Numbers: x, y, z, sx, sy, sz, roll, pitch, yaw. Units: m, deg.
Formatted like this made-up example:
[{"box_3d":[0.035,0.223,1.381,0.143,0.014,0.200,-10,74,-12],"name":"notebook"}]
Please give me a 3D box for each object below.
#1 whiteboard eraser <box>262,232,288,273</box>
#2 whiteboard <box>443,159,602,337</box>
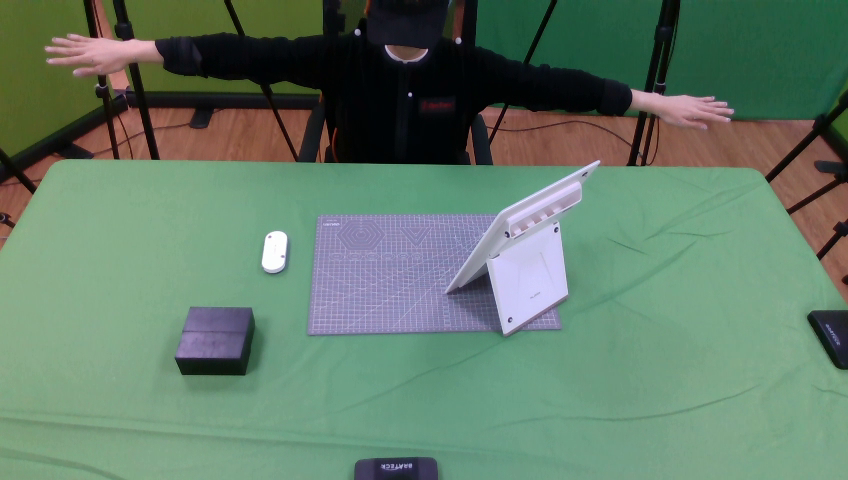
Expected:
[{"box_3d":[-0.285,0.023,1.158,0.041,0.019,0.100,-1,45,-4],"name":"whiteboard eraser"},{"box_3d":[0.193,0.036,1.018,0.217,0.306,0.143,-26,72,-26],"name":"whiteboard"}]
